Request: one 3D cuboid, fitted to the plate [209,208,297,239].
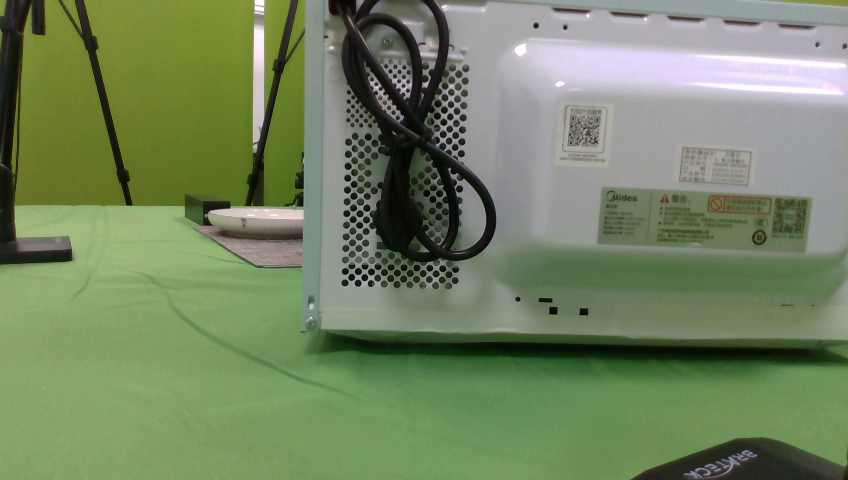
[{"bbox_3d":[-0.271,-0.029,1.074,0.208,0.039,0.207,3,7,0],"label":"plate"}]

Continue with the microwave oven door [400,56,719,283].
[{"bbox_3d":[0.155,-0.078,0.698,0.356,0.243,0.039,2,8,-5],"label":"microwave oven door"}]

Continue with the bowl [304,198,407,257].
[{"bbox_3d":[-0.101,-0.019,0.895,0.151,0.077,0.151,2,8,0],"label":"bowl"}]

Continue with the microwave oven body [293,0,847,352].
[{"bbox_3d":[0.122,-0.055,0.550,0.442,0.260,0.325,3,7,-5],"label":"microwave oven body"}]

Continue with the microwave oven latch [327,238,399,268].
[{"bbox_3d":[-0.069,0.015,0.694,0.079,0.029,0.030,3,7,-3],"label":"microwave oven latch"}]
